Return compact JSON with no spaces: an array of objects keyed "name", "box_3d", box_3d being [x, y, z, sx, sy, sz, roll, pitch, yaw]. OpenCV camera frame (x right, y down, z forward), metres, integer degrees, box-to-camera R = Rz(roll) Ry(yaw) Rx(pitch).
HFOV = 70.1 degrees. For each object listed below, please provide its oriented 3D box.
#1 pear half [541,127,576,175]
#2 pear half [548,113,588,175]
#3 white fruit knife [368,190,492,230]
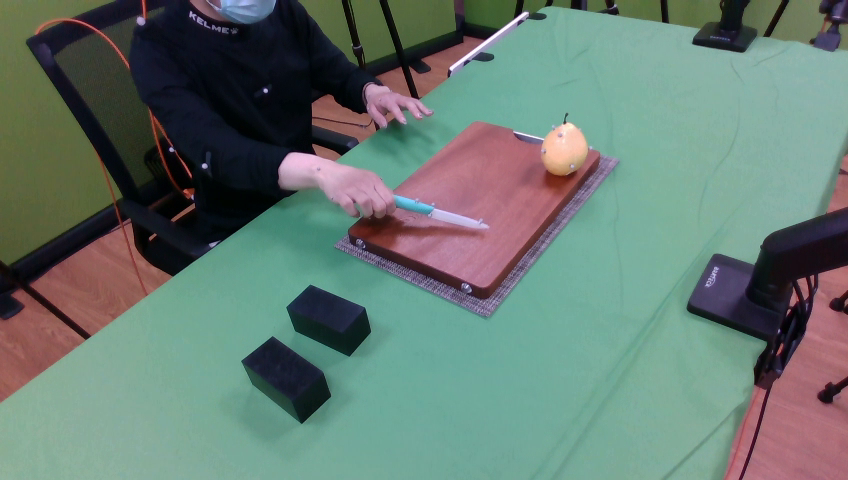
[{"name":"pear half","box_3d":[0.219,-0.145,1.010,0.070,0.088,0.031,34,55,29]},{"name":"pear half","box_3d":[0.245,-0.170,1.020,0.056,0.110,0.076,-36,52,-29]},{"name":"white fruit knife","box_3d":[0.007,-0.047,0.956,0.207,0.027,0.016,15,50,11]}]
